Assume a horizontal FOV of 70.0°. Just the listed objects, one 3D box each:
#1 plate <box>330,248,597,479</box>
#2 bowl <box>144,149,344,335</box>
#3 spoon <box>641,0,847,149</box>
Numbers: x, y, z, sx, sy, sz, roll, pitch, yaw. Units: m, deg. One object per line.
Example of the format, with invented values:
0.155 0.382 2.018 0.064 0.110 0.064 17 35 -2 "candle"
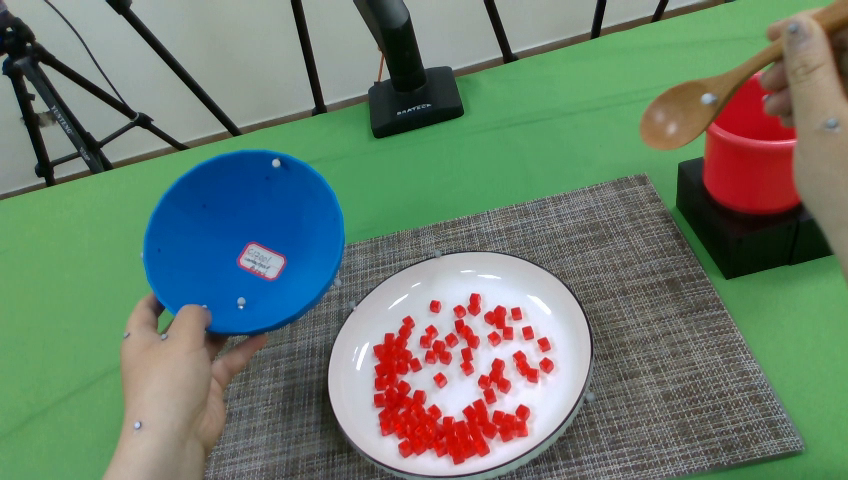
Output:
0.030 0.093 0.478 0.207 0.039 0.205 -10 43 10 "plate"
-0.134 0.011 0.490 0.151 0.077 0.150 0 68 1 "bowl"
0.184 -0.095 0.317 0.022 0.194 0.041 4 76 -17 "spoon"
